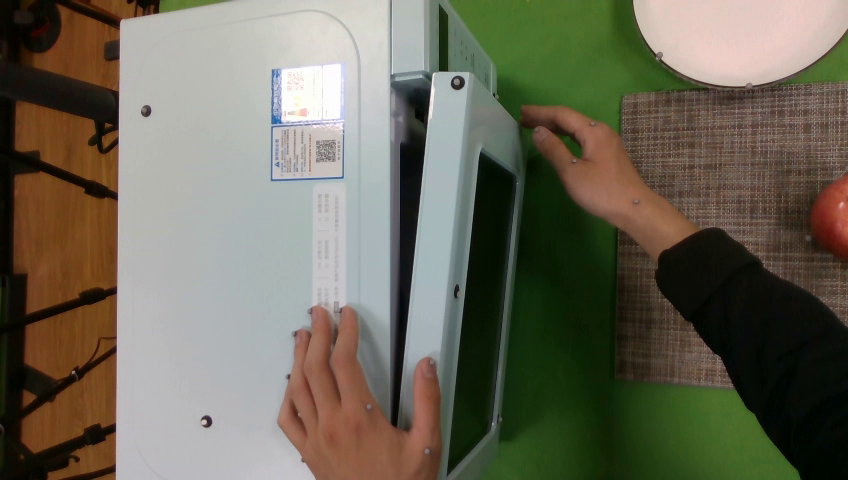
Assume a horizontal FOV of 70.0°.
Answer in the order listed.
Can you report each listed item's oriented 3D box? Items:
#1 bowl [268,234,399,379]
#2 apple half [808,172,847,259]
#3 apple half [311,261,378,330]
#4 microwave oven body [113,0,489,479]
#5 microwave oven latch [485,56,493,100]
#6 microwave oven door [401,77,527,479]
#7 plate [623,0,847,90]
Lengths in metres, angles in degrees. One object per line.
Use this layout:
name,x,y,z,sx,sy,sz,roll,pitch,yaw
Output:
bowl,-0.083,0.064,0.650,0.150,0.077,0.151,4,99,25
apple half,0.378,-0.018,0.546,0.053,0.075,0.080,-21,85,24
apple half,-0.088,0.064,0.640,0.081,0.033,0.081,4,105,16
microwave oven body,-0.110,0.018,0.620,0.325,0.261,0.441,-1,89,19
microwave oven latch,0.060,-0.159,0.666,0.030,0.029,0.079,4,91,19
microwave oven door,0.042,0.057,0.560,0.039,0.245,0.355,5,90,20
plate,0.307,-0.249,0.599,0.207,0.039,0.207,-1,89,19
